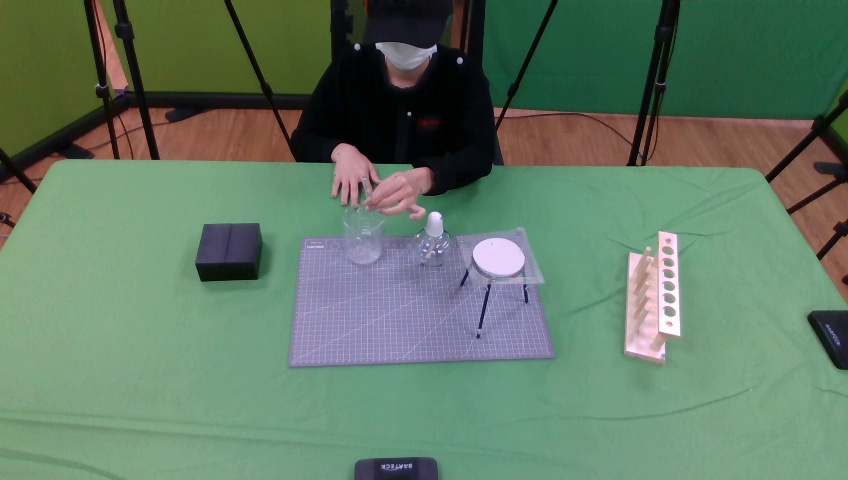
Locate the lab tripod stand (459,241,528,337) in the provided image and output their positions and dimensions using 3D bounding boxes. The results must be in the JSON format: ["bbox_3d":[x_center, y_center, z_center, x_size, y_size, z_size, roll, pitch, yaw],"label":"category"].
[{"bbox_3d":[0.122,0.075,1.054,0.148,0.132,0.147,3,44,-3],"label":"lab tripod stand"}]

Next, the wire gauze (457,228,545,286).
[{"bbox_3d":[0.126,0.029,1.006,0.125,0.011,0.120,-4,46,-10],"label":"wire gauze"}]

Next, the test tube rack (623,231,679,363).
[{"bbox_3d":[0.410,0.094,1.096,0.066,0.085,0.241,13,46,9],"label":"test tube rack"}]

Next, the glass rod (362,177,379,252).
[{"bbox_3d":[-0.096,-0.042,1.101,0.008,0.201,0.008,-2,50,3],"label":"glass rod"}]

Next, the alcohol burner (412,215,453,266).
[{"bbox_3d":[0.017,-0.006,1.139,0.078,0.119,0.077,2,48,-3],"label":"alcohol burner"}]

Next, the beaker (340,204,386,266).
[{"bbox_3d":[-0.114,-0.008,1.140,0.084,0.101,0.073,-3,46,-8],"label":"beaker"}]

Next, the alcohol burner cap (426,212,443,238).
[{"bbox_3d":[0.019,-0.031,1.114,0.034,0.048,0.033,0,48,0],"label":"alcohol burner cap"}]
